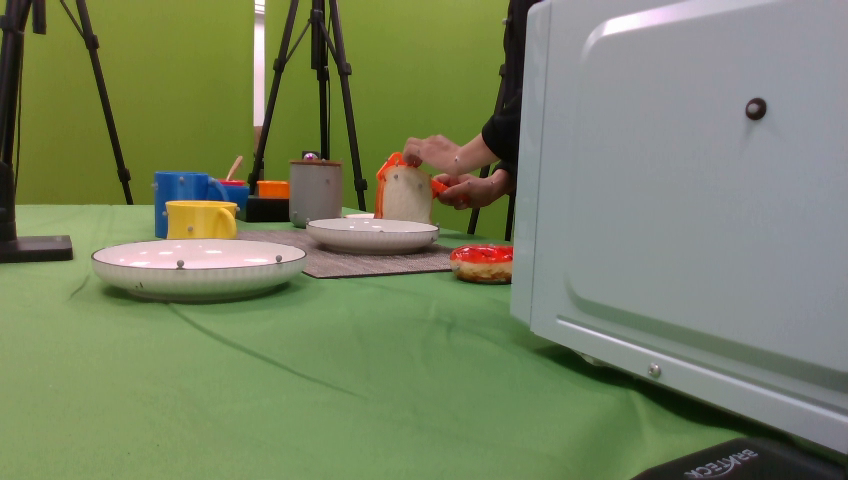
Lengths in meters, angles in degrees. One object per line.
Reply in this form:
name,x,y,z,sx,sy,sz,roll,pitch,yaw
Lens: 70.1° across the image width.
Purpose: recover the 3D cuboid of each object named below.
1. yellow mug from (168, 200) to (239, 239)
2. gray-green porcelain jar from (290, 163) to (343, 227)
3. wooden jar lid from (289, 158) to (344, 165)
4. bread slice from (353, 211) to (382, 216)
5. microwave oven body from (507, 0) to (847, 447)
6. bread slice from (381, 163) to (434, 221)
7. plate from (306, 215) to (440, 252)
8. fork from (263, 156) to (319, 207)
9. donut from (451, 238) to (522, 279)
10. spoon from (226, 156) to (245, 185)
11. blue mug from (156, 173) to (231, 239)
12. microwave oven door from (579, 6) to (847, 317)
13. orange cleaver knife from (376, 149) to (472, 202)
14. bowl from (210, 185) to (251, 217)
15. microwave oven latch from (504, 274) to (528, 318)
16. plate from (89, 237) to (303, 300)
yellow mug,-0.320,-0.023,0.904,0.130,0.064,0.100,9,11,36
gray-green porcelain jar,-0.217,-0.091,1.221,0.106,0.126,0.106,2,7,0
wooden jar lid,-0.215,-0.153,1.212,0.108,0.020,0.108,2,5,0
bread slice,-0.105,-0.025,1.251,0.105,0.019,0.131,-10,29,-23
microwave oven body,0.331,-0.042,0.425,0.444,0.260,0.324,-2,8,-31
bread slice,-0.033,-0.075,1.120,0.107,0.134,0.018,-3,3,-25
plate,-0.079,-0.011,0.950,0.209,0.038,0.209,2,8,0
fork,-0.331,-0.144,1.505,0.207,0.018,0.028,-42,-20,22
donut,0.083,0.022,0.745,0.099,0.048,0.099,1,5,0
spoon,-0.477,-0.145,1.492,0.041,0.022,0.193,0,51,12
blue mug,-0.381,-0.057,1.004,0.117,0.106,0.082,1,8,-12
microwave oven door,0.294,-0.067,0.570,0.358,0.243,0.039,-3,9,-31
orange cleaver knife,0.003,-0.107,1.191,0.212,0.077,0.012,25,-5,-28
bowl,-0.408,-0.064,1.155,0.151,0.077,0.151,2,8,0
microwave oven latch,0.100,0.041,0.471,0.079,0.029,0.030,-1,8,-28
plate,-0.233,0.029,0.637,0.208,0.039,0.207,2,7,0
